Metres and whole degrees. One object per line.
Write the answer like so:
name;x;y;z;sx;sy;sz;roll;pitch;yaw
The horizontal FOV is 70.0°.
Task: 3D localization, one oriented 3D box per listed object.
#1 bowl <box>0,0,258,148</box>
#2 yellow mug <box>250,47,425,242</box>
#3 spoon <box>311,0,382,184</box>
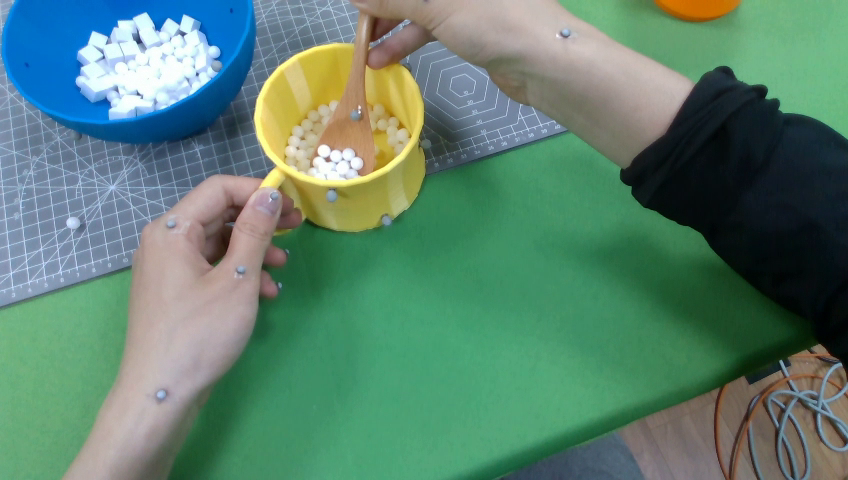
bowl;-0.177;-0.115;0.399;0.151;0.077;0.150;0;67;0
yellow mug;-0.059;-0.050;0.378;0.099;0.064;0.130;36;73;14
spoon;-0.034;-0.114;0.358;0.041;0.021;0.194;17;108;12
